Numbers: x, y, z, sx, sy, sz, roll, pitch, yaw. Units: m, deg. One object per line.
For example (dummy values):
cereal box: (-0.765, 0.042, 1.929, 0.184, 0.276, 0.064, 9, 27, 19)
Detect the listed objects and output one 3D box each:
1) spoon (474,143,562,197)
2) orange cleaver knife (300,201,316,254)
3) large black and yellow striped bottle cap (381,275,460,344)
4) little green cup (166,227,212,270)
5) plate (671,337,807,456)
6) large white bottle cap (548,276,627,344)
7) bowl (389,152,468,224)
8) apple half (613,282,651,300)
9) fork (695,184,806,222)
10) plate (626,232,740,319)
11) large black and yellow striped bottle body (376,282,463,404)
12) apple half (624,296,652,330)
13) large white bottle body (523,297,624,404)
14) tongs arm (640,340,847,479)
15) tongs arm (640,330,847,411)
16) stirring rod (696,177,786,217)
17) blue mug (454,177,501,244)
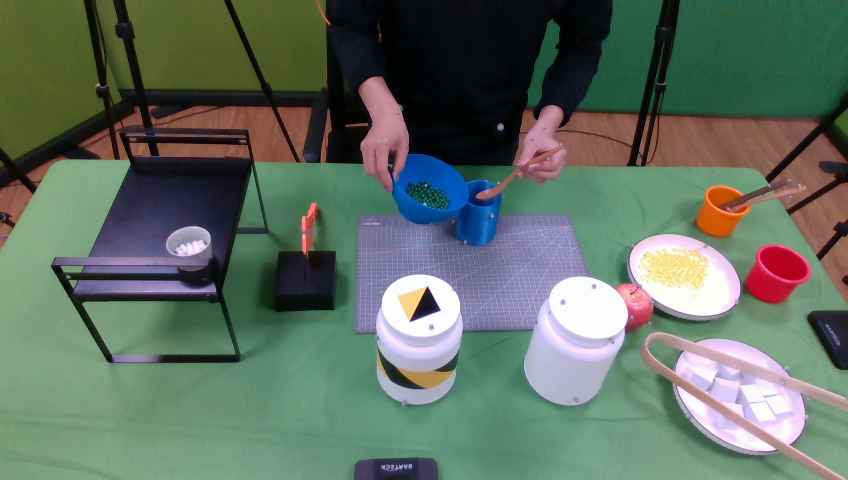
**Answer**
spoon: (0.166, -0.125, 1.091, 0.021, 0.194, 0.041, 51, 37, -7)
orange cleaver knife: (-0.221, -0.027, 1.161, 0.012, 0.077, 0.210, -1, 15, -4)
large black and yellow striped bottle cap: (-0.005, 0.098, 0.875, 0.115, 0.019, 0.114, 2, 45, -1)
little green cup: (-0.344, 0.014, 0.895, 0.061, 0.039, 0.061, 3, 46, -3)
plate: (0.503, 0.254, 0.984, 0.208, 0.039, 0.206, 2, 46, -2)
large white bottle cap: (0.240, 0.100, 0.890, 0.115, 0.018, 0.114, 3, 47, -3)
bowl: (-0.003, -0.082, 1.108, 0.152, 0.077, 0.150, 16, 43, -15)
apple half: (0.356, 0.109, 1.086, 0.081, 0.075, 0.053, -13, 44, -12)
fork: (0.658, -0.074, 1.230, 0.207, 0.019, 0.028, -24, 34, 36)
plate: (0.489, 0.070, 1.157, 0.209, 0.038, 0.208, 3, 46, -3)
large black and yellow striped bottle body: (-0.010, 0.155, 0.937, 0.131, 0.185, 0.130, 2, 47, -2)
apple half: (0.368, 0.135, 1.060, 0.081, 0.081, 0.032, -11, 43, -15)
large white bottle body: (0.235, 0.159, 0.952, 0.131, 0.185, 0.130, 2, 47, -2)
tongs arm: (0.500, 0.277, 0.919, 0.386, 0.028, 0.028, 34, 59, 22)
tongs arm: (0.543, 0.225, 0.969, 0.384, 0.026, 0.050, 22, 52, 13)
stirring rod: (0.648, -0.087, 1.244, 0.176, 0.006, 0.014, -25, 50, 29)
blue mug: (0.106, -0.067, 1.208, 0.082, 0.106, 0.116, 6, 46, 1)
